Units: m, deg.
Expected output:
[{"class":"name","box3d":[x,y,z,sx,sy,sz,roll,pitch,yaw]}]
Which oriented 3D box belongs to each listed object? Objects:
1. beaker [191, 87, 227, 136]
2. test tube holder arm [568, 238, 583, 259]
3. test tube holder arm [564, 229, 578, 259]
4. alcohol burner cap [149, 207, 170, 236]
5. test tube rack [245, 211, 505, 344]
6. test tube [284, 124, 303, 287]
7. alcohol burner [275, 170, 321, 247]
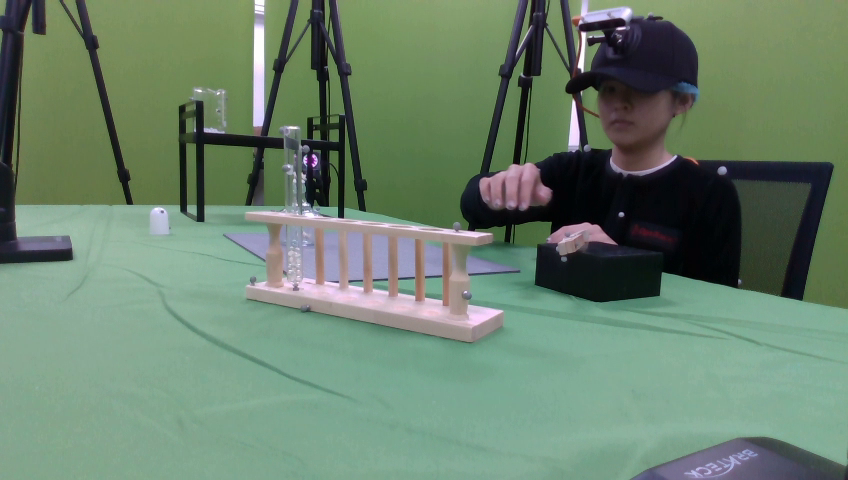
[{"class":"beaker","box3d":[-0.476,-0.284,1.345,0.074,0.100,0.083,-3,10,-37]},{"class":"test tube holder arm","box3d":[0.165,0.008,0.661,0.010,0.015,0.088,8,9,18]},{"class":"test tube holder arm","box3d":[0.172,0.002,0.706,0.013,0.015,0.179,7,9,13]},{"class":"alcohol burner cap","box3d":[-0.445,-0.032,1.019,0.034,0.048,0.034,4,9,0]},{"class":"test tube rack","box3d":[-0.049,0.025,0.547,0.241,0.085,0.067,7,8,29]},{"class":"test tube","box3d":[-0.120,-0.030,0.558,0.017,0.150,0.017,2,10,0]},{"class":"alcohol burner","box3d":[-0.199,-0.050,0.948,0.078,0.119,0.078,1,7,0]}]
